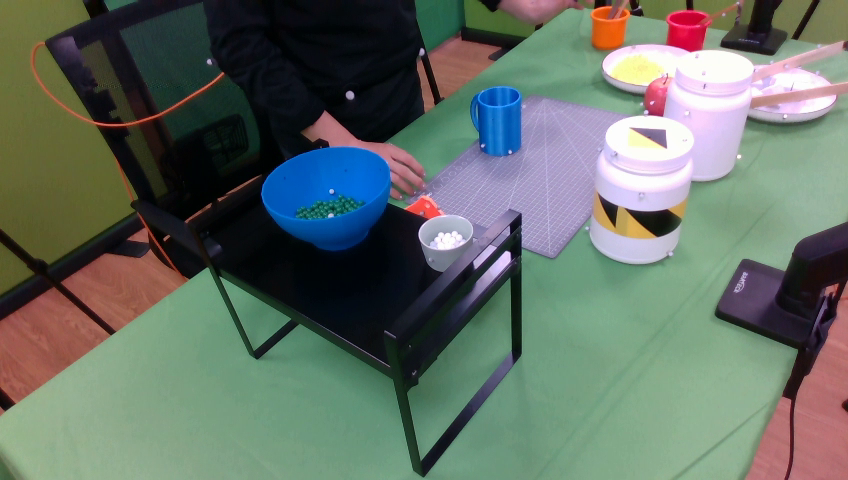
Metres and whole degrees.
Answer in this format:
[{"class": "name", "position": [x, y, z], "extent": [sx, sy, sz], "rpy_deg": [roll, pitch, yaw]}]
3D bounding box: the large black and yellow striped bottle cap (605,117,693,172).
[{"class": "large black and yellow striped bottle cap", "position": [0.309, -0.134, 0.833], "extent": [0.115, 0.019, 0.114], "rpy_deg": [-5, 40, 5]}]

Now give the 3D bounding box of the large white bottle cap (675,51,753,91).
[{"class": "large white bottle cap", "position": [0.463, -0.271, 0.967], "extent": [0.115, 0.018, 0.114], "rpy_deg": [-4, 40, 4]}]

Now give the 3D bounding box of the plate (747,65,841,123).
[{"class": "plate", "position": [0.695, -0.282, 1.189], "extent": [0.207, 0.039, 0.206], "rpy_deg": [-4, 40, 4]}]

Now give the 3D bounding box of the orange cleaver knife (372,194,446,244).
[{"class": "orange cleaver knife", "position": [-0.032, -0.026, 0.965], "extent": [0.210, 0.077, 0.012], "rpy_deg": [-9, 29, 51]}]

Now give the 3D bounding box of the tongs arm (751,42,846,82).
[{"class": "tongs arm", "position": [0.708, -0.331, 1.194], "extent": [0.386, 0.026, 0.050], "rpy_deg": [-18, 45, -16]}]

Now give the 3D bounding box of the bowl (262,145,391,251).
[{"class": "bowl", "position": [-0.108, -0.041, 0.723], "extent": [0.151, 0.077, 0.150], "rpy_deg": [-4, 40, 4]}]

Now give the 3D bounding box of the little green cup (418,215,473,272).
[{"class": "little green cup", "position": [0.026, 0.005, 0.678], "extent": [0.061, 0.039, 0.061], "rpy_deg": [-4, 40, 4]}]

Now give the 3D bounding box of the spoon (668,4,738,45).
[{"class": "spoon", "position": [0.618, -0.478, 1.346], "extent": [0.042, 0.193, 0.021], "rpy_deg": [-26, 89, -20]}]

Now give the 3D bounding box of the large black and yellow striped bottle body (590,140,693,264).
[{"class": "large black and yellow striped bottle body", "position": [0.317, -0.071, 0.889], "extent": [0.131, 0.185, 0.130], "rpy_deg": [-4, 41, 4]}]

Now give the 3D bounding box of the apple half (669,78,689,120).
[{"class": "apple half", "position": [0.498, -0.273, 1.180], "extent": [0.032, 0.082, 0.081], "rpy_deg": [7, 42, 25]}]

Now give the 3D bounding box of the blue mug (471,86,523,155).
[{"class": "blue mug", "position": [0.135, -0.235, 1.163], "extent": [0.082, 0.106, 0.115], "rpy_deg": [-36, 48, -29]}]

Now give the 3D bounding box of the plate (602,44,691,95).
[{"class": "plate", "position": [0.494, -0.366, 1.317], "extent": [0.209, 0.038, 0.208], "rpy_deg": [-4, 40, 4]}]

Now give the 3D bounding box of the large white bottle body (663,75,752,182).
[{"class": "large white bottle body", "position": [0.472, -0.207, 1.022], "extent": [0.130, 0.185, 0.130], "rpy_deg": [-4, 41, 4]}]

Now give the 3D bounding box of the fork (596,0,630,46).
[{"class": "fork", "position": [0.481, -0.556, 1.452], "extent": [0.028, 0.019, 0.207], "rpy_deg": [40, 103, 40]}]

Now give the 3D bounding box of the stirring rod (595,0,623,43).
[{"class": "stirring rod", "position": [0.460, -0.556, 1.460], "extent": [0.014, 0.006, 0.176], "rpy_deg": [30, 93, 23]}]

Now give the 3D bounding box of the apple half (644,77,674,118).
[{"class": "apple half", "position": [0.463, -0.279, 1.194], "extent": [0.053, 0.075, 0.081], "rpy_deg": [8, 46, 24]}]

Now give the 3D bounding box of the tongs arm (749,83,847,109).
[{"class": "tongs arm", "position": [0.734, -0.280, 1.133], "extent": [0.388, 0.028, 0.028], "rpy_deg": [-9, 47, -5]}]
